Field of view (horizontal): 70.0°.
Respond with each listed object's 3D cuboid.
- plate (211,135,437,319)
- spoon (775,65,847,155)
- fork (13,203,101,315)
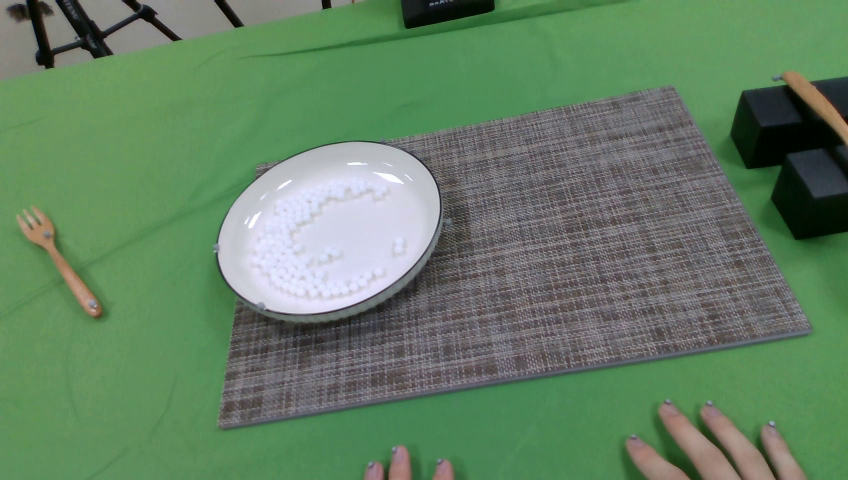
[{"bbox_3d":[-0.088,-0.013,0.557,0.207,0.039,0.205,-6,51,8],"label":"plate"},{"bbox_3d":[0.326,-0.088,0.476,0.041,0.022,0.191,-26,46,21],"label":"spoon"},{"bbox_3d":[-0.371,0.017,0.611,0.028,0.019,0.205,-37,51,-25],"label":"fork"}]
